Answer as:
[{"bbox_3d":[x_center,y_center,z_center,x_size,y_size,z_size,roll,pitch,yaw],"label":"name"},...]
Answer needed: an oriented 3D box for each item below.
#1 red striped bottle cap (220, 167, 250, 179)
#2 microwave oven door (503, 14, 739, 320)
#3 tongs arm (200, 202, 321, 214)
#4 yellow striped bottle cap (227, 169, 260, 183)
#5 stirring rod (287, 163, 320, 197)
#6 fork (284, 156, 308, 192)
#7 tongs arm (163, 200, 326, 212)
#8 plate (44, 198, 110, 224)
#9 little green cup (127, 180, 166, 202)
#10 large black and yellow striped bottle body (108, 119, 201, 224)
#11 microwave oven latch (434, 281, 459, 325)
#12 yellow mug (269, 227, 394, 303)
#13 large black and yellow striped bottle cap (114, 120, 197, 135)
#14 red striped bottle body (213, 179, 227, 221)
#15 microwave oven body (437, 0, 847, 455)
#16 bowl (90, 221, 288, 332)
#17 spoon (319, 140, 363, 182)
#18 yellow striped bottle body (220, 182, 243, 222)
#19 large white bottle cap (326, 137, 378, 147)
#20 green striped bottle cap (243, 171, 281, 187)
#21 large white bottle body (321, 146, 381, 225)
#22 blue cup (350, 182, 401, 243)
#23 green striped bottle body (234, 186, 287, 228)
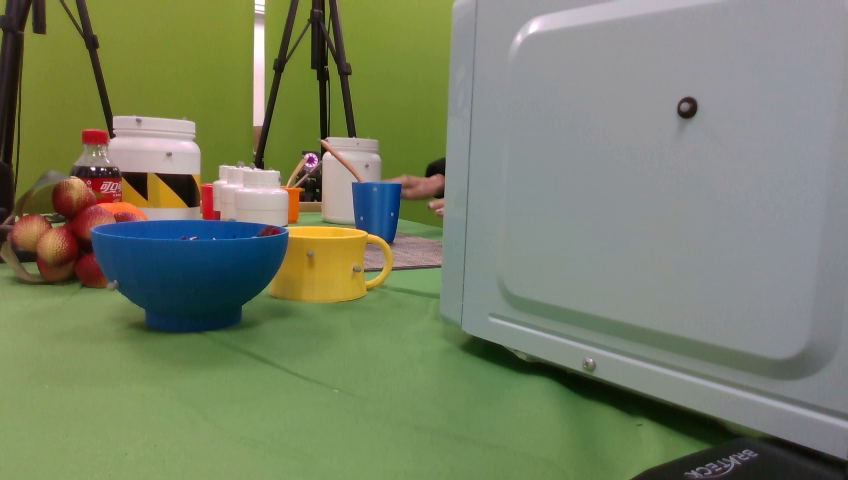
[{"bbox_3d":[-0.281,-0.100,0.901,0.044,0.017,0.044,-1,5,0],"label":"red striped bottle cap"},{"bbox_3d":[0.218,-0.065,0.600,0.358,0.243,0.039,-4,10,-41],"label":"microwave oven door"},{"bbox_3d":[-0.380,-0.076,1.420,0.387,0.026,0.050,-3,5,-42],"label":"tongs arm"},{"bbox_3d":[-0.243,-0.086,0.818,0.044,0.018,0.044,3,6,0],"label":"yellow striped bottle cap"},{"bbox_3d":[-0.283,-0.107,1.298,0.014,0.006,0.176,11,53,50],"label":"stirring rod"},{"bbox_3d":[-0.295,-0.116,1.323,0.028,0.019,0.207,1,50,21],"label":"fork"},{"bbox_3d":[-0.433,-0.084,1.490,0.389,0.027,0.028,-1,1,-27],"label":"tongs arm"},{"bbox_3d":[-0.617,-0.056,1.179,0.209,0.038,0.209,3,7,0],"label":"plate"},{"bbox_3d":[-0.486,-0.086,1.061,0.061,0.038,0.061,1,7,0],"label":"little green cup"},{"bbox_3d":[-0.412,-0.088,0.930,0.131,0.184,0.130,3,7,0],"label":"large black and yellow striped bottle body"},{"bbox_3d":[0.044,0.045,0.470,0.079,0.029,0.030,-2,8,-39],"label":"microwave oven latch"},{"bbox_3d":[-0.094,0.023,0.629,0.131,0.064,0.099,0,7,-22],"label":"yellow mug"},{"bbox_3d":[-0.407,-0.171,0.920,0.115,0.019,0.115,2,9,0],"label":"large black and yellow striped bottle cap"},{"bbox_3d":[-0.284,-0.048,0.909,0.063,0.119,0.063,3,12,0],"label":"red striped bottle body"},{"bbox_3d":[0.279,-0.040,0.465,0.444,0.260,0.324,-3,9,-41],"label":"microwave oven body"},{"bbox_3d":[-0.190,0.029,0.500,0.151,0.077,0.151,3,7,0],"label":"bowl"},{"bbox_3d":[-0.116,-0.106,1.028,0.193,0.021,0.042,51,28,14],"label":"spoon"},{"bbox_3d":[-0.246,-0.036,0.825,0.063,0.120,0.063,3,8,0],"label":"yellow striped bottle body"},{"bbox_3d":[-0.158,-0.214,1.329,0.115,0.018,0.115,2,8,0],"label":"large white bottle cap"},{"bbox_3d":[-0.198,-0.074,0.736,0.044,0.020,0.044,1,7,0],"label":"green striped bottle cap"},{"bbox_3d":[-0.162,-0.131,1.340,0.131,0.184,0.130,2,8,0],"label":"large white bottle body"},{"bbox_3d":[-0.080,-0.047,1.011,0.093,0.100,0.092,0,7,0],"label":"blue cup"},{"bbox_3d":[-0.201,-0.023,0.743,0.063,0.119,0.063,2,7,0],"label":"green striped bottle body"}]
